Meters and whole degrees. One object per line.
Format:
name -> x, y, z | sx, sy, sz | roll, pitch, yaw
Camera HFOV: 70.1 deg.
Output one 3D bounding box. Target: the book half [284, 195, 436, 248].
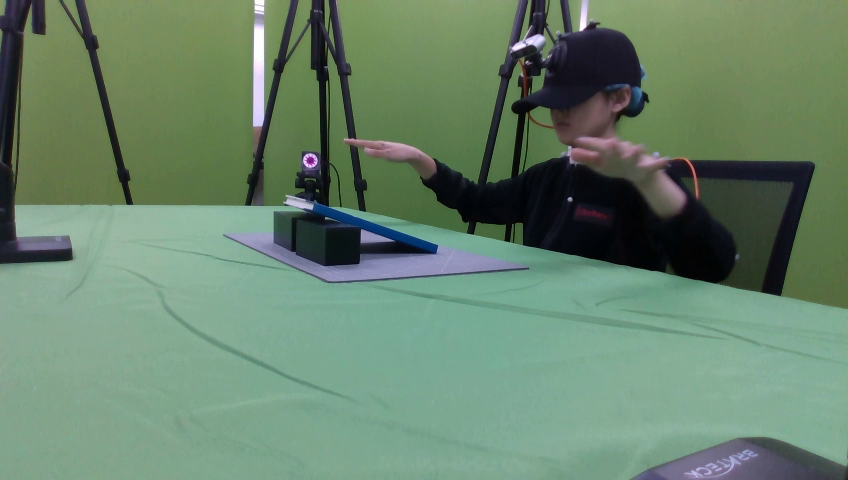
book half -> -0.100, -0.028, 0.934 | 0.211, 0.007, 0.142 | 19, -1, -29
